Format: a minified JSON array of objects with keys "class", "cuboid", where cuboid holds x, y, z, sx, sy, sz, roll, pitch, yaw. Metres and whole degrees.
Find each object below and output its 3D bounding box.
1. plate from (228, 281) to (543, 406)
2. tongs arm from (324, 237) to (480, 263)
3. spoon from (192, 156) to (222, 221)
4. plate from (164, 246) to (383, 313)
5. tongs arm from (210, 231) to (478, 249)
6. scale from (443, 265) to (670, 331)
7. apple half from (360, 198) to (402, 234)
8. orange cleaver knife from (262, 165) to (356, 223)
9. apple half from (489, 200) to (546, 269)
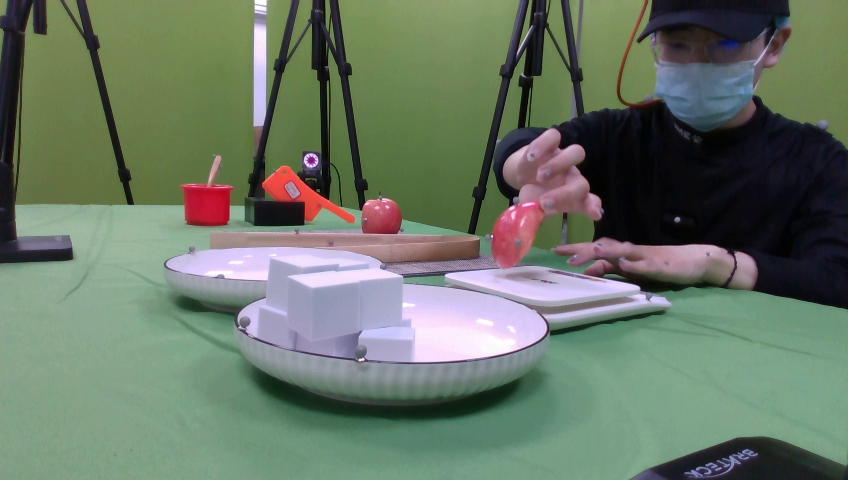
[{"class":"plate","cuboid":[-0.025,0.067,0.413,0.208,0.039,0.207,3,7,0]},{"class":"tongs arm","cuboid":[-0.070,0.017,0.801,0.390,0.028,0.028,-3,5,-34]},{"class":"spoon","cuboid":[-0.430,-0.108,1.222,0.041,0.021,0.193,-1,52,0]},{"class":"plate","cuboid":[-0.145,0.038,0.600,0.209,0.038,0.209,2,7,0]},{"class":"tongs arm","cuboid":[-0.106,0.004,0.876,0.386,0.026,0.050,0,7,-20]},{"class":"scale","cuboid":[0.131,0.052,0.603,0.202,0.031,0.148,-2,9,-36]},{"class":"apple half","cuboid":[-0.066,-0.033,1.014,0.053,0.074,0.081,9,6,21]},{"class":"orange cleaver knife","cuboid":[-0.243,-0.081,1.292,0.212,0.077,0.012,34,-8,-26]},{"class":"apple half","cuboid":[0.082,-0.010,0.592,0.033,0.081,0.081,31,2,-12]}]
